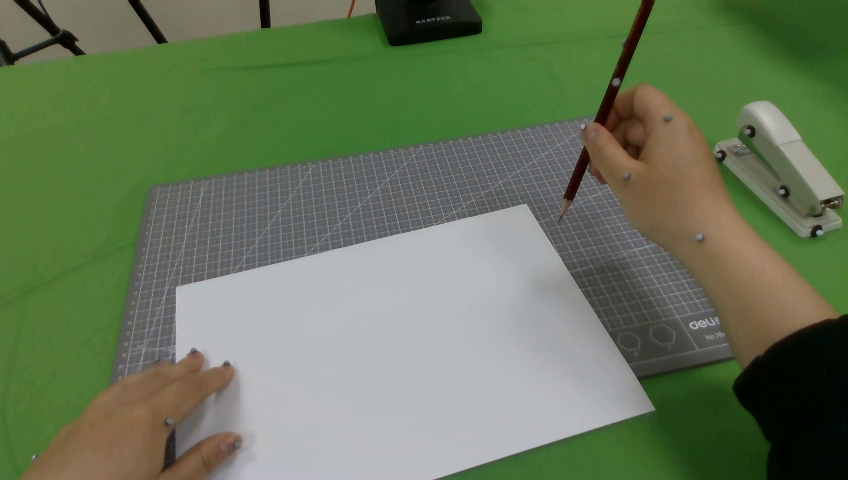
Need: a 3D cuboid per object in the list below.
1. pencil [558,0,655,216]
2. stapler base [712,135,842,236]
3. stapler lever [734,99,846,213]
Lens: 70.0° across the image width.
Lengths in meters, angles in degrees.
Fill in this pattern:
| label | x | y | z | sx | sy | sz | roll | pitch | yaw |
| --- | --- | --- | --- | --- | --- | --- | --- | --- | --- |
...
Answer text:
| label | x | y | z | sx | sy | sz | roll | pitch | yaw |
| --- | --- | --- | --- | --- | --- | --- | --- | --- | --- |
| pencil | 0.124 | -0.098 | 0.405 | 0.012 | 0.195 | 0.012 | 11 | 32 | -7 |
| stapler base | 0.305 | -0.058 | 0.527 | 0.041 | 0.025 | 0.129 | -16 | 48 | -8 |
| stapler lever | 0.304 | -0.074 | 0.507 | 0.027 | 0.040 | 0.116 | -16 | 49 | -7 |
